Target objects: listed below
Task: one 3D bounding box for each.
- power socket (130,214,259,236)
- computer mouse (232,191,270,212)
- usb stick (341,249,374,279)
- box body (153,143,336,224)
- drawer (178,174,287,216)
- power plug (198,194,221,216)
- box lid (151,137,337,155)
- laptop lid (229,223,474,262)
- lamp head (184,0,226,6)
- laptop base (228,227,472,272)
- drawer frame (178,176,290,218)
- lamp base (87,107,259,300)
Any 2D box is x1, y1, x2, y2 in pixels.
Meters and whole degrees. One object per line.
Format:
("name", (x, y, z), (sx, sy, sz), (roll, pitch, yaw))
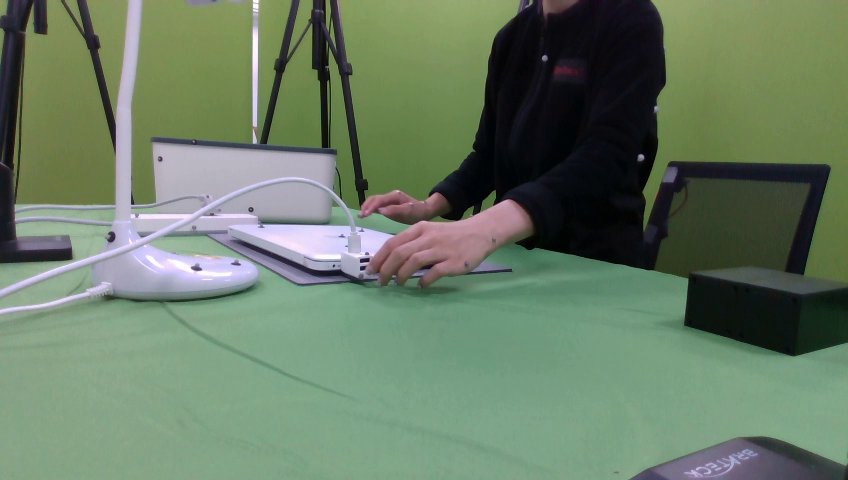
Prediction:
("power socket", (-0.397, -0.028, 1.048), (0.228, 0.032, 0.072), (-3, 7, -35))
("computer mouse", (-0.382, -0.086, 1.343), (0.063, 0.041, 0.117), (9, 10, -4))
("usb stick", (-0.078, 0.026, 0.686), (0.021, 0.027, 0.059), (-8, 9, -30))
("box body", (-0.380, -0.130, 1.344), (0.365, 0.160, 0.253), (1, 7, -9))
("drawer", (-0.414, -0.104, 1.342), (0.212, 0.073, 0.194), (5, 7, -11))
("power plug", (-0.386, -0.055, 1.088), (0.035, 0.052, 0.072), (-1, 7, -24))
("box lid", (-0.379, -0.203, 1.334), (0.372, 0.015, 0.262), (2, 7, -9))
("laptop lid", (-0.121, 0.000, 0.888), (0.243, 0.013, 0.355), (1, 7, -33))
("lamp head", (-0.229, -0.320, 0.627), (0.112, 0.112, 0.123), (6, -36, 26))
("laptop base", (-0.124, 0.011, 0.889), (0.237, 0.023, 0.352), (2, 6, -35))
("drawer frame", (-0.409, -0.100, 1.340), (0.214, 0.082, 0.201), (-4, 7, -10))
("lamp base", (-0.254, -0.039, 0.603), (0.160, 0.180, 0.179), (5, 10, 18))
